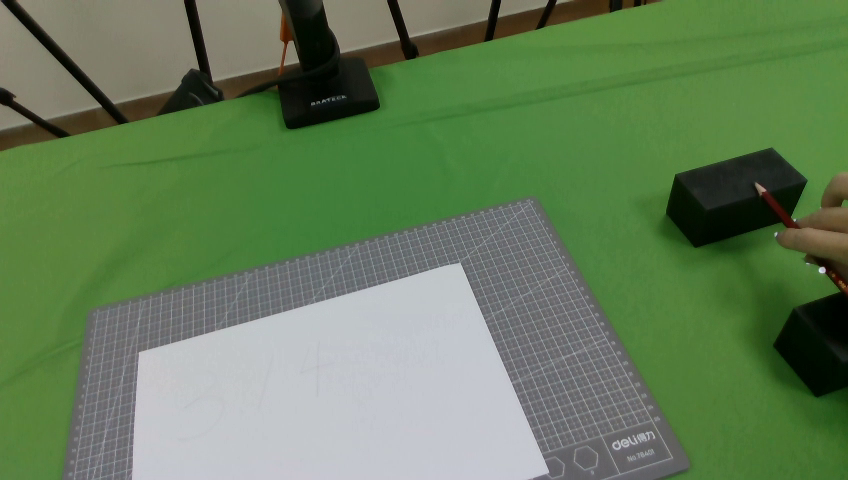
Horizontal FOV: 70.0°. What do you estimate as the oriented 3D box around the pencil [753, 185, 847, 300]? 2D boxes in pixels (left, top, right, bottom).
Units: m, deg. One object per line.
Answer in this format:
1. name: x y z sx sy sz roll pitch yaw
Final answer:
1. pencil: 0.306 0.017 0.467 0.012 0.012 0.192 -12 44 -2
